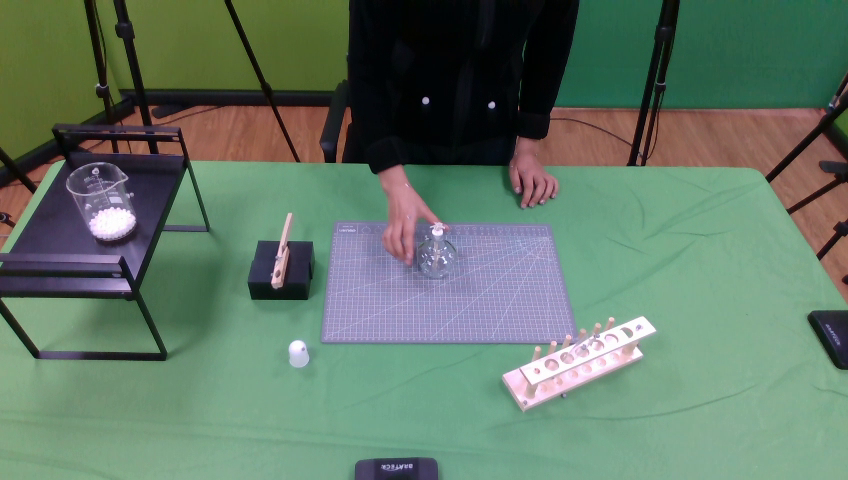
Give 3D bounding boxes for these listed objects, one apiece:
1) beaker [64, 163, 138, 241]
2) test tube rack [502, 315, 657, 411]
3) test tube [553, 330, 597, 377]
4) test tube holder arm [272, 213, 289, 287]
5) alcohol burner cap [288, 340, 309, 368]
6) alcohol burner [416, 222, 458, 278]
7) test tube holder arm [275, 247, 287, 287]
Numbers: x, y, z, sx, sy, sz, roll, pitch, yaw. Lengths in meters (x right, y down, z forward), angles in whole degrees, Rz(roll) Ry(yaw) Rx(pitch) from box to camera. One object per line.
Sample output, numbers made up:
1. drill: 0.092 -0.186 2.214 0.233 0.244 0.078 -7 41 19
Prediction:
1. beaker: -0.477 -0.055 0.910 0.084 0.101 0.073 -9 48 -13
2. test tube rack: 0.253 0.186 0.989 0.242 0.085 0.066 -18 50 -20
3. test tube: 0.226 0.176 0.924 0.017 0.151 0.017 6 55 -9
4. test tube holder arm: -0.259 0.015 1.099 0.013 0.015 0.177 -1 45 -5
5. alcohol burner cap: -0.207 0.183 0.991 0.034 0.048 0.033 3 47 -3
6. alcohol burner: 0.024 0.013 1.116 0.078 0.120 0.077 1 45 -1
7. test tube holder arm: -0.251 0.046 1.068 0.010 0.015 0.087 0 45 -4
